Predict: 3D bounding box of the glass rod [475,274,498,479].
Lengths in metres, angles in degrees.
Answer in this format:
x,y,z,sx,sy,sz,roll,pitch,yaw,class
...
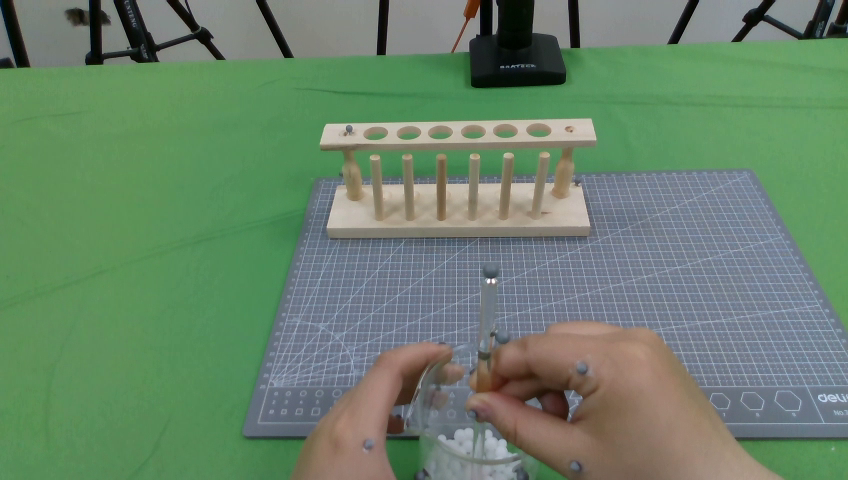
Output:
x,y,z,sx,sy,sz,roll,pitch,yaw,class
0.030,0.089,0.300,0.008,0.201,0.008,-1,42,2,glass rod

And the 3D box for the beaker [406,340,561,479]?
x,y,z,sx,sy,sz,roll,pitch,yaw,class
0.030,0.119,0.351,0.084,0.101,0.073,-12,44,-15,beaker

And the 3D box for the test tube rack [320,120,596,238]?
x,y,z,sx,sy,sz,roll,pitch,yaw,class
0.030,-0.055,0.557,0.242,0.086,0.066,0,43,4,test tube rack
